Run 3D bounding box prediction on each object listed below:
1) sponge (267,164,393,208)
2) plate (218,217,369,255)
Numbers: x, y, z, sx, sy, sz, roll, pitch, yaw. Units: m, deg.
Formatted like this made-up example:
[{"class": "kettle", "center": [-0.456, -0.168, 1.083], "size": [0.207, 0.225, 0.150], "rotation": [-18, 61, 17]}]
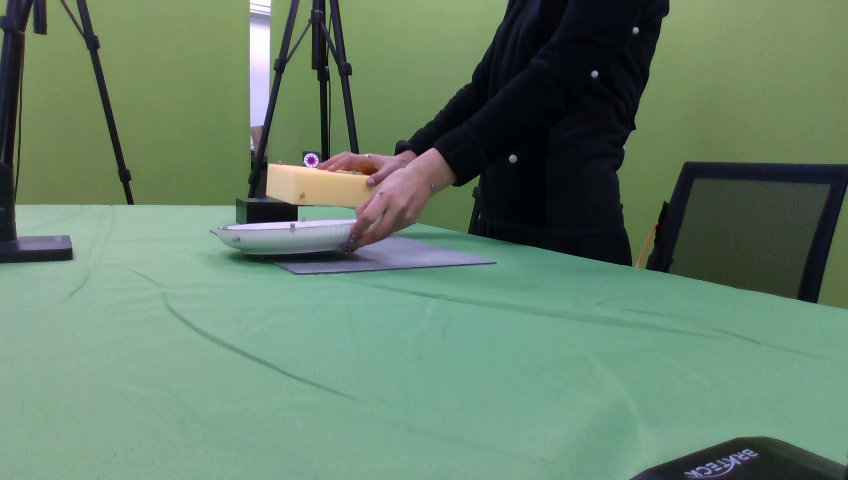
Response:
[{"class": "sponge", "center": [-0.175, -0.101, 1.135], "size": [0.208, 0.061, 0.117], "rotation": [0, 11, -39]}, {"class": "plate", "center": [-0.180, -0.006, 0.852], "size": [0.209, 0.038, 0.209], "rotation": [-4, 4, 1]}]
